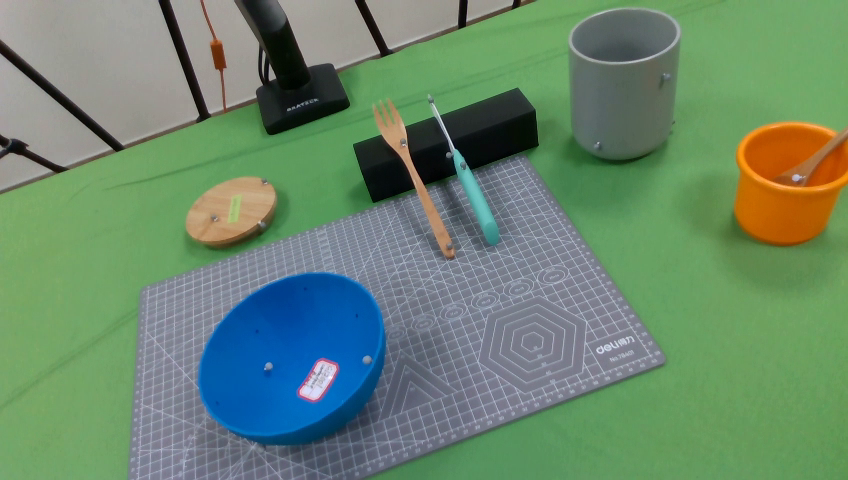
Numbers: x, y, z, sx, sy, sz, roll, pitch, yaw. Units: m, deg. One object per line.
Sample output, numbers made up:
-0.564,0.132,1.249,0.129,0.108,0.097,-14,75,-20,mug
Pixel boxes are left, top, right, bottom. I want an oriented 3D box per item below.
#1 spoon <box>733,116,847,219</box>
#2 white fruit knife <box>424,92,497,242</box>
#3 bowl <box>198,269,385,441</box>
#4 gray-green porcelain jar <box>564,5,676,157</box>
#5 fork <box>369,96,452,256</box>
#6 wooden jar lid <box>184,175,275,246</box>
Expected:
0.344,-0.085,0.506,0.022,0.194,0.041,18,39,-29,spoon
0.033,-0.086,0.642,0.016,0.028,0.205,-20,59,-4,white fruit knife
-0.097,0.105,0.499,0.151,0.077,0.150,-8,46,9,bowl
0.201,-0.160,0.631,0.106,0.128,0.105,-8,46,9,gray-green porcelain jar
-0.014,-0.071,0.640,0.028,0.019,0.205,-20,64,-10,fork
-0.226,-0.034,0.711,0.108,0.021,0.107,-7,46,8,wooden jar lid
